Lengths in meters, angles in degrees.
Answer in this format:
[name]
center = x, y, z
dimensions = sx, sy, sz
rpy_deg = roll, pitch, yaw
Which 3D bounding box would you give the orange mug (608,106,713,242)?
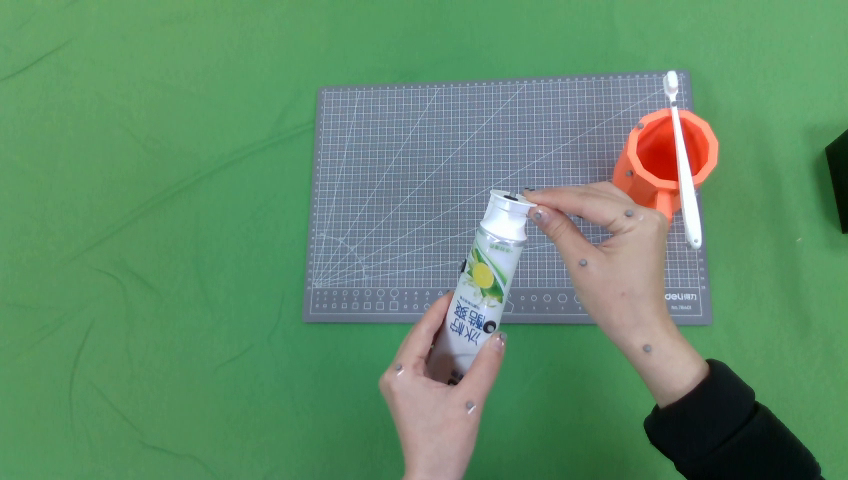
[orange mug]
center = 0.243, -0.064, 0.637
dimensions = 0.083, 0.101, 0.125
rpy_deg = 8, 73, 10

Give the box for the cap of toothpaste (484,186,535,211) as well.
[cap of toothpaste]
center = 0.058, -0.028, 0.420
dimensions = 0.037, 0.037, 0.011
rpy_deg = 15, 103, 11

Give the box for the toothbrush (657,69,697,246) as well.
[toothbrush]
center = 0.246, -0.083, 0.586
dimensions = 0.014, 0.017, 0.181
rpy_deg = -4, 76, 4

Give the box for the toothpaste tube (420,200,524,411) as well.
[toothpaste tube]
center = 0.037, 0.045, 0.447
dimensions = 0.054, 0.035, 0.165
rpy_deg = 29, 113, 34
